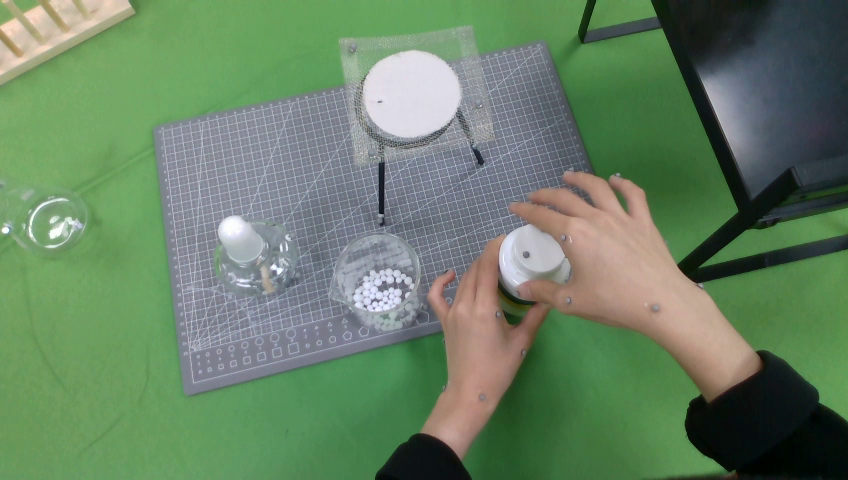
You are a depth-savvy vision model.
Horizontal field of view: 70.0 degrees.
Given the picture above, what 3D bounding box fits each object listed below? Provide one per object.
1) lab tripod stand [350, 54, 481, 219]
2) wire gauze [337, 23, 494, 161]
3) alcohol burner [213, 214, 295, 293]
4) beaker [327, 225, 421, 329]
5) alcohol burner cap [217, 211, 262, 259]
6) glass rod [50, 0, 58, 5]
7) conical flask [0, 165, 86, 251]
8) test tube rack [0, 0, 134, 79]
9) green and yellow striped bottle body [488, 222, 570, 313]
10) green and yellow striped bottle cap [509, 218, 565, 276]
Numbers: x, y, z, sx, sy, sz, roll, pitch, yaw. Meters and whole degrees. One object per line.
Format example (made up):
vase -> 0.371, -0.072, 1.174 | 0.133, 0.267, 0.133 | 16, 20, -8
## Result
lab tripod stand -> -0.013, -0.105, 0.586 | 0.148, 0.132, 0.147 | 0, 70, 0
wire gauze -> -0.009, -0.133, 0.524 | 0.121, 0.011, 0.124 | -8, 72, -3
alcohol burner -> -0.162, 0.007, 0.563 | 0.078, 0.120, 0.077 | 0, 70, 0
beaker -> -0.042, 0.041, 0.557 | 0.084, 0.101, 0.073 | -25, 72, -6
alcohol burner cap -> -0.164, -0.007, 0.529 | 0.034, 0.048, 0.033 | 0, 64, 0
glass rod -> -0.427, -0.314, 0.621 | 0.008, 0.201, 0.008 | 1, 68, -3
conical flask -> -0.391, -0.042, 0.581 | 0.075, 0.122, 0.075 | 0, 71, 2
test tube rack -> -0.464, -0.250, 0.670 | 0.242, 0.085, 0.066 | -33, 74, -10
green and yellow striped bottle body -> 0.094, 0.024, 0.549 | 0.063, 0.120, 0.063 | 0, 71, 1
green and yellow striped bottle cap -> 0.093, 0.005, 0.494 | 0.045, 0.020, 0.045 | -1, 71, 3
